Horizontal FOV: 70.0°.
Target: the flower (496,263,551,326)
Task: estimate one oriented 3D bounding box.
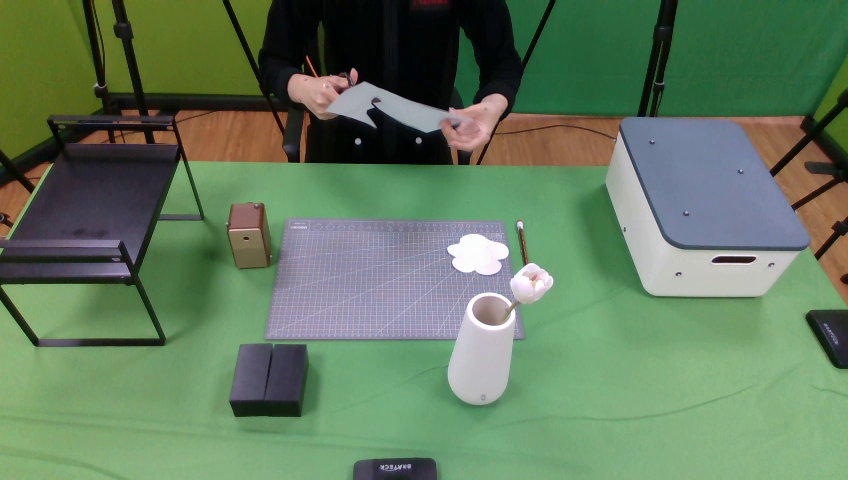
[{"bbox_3d":[0.102,0.120,0.853,0.044,0.363,0.038,-2,64,-10],"label":"flower"}]

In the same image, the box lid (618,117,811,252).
[{"bbox_3d":[0.534,-0.117,1.149,0.263,0.015,0.369,0,47,-3],"label":"box lid"}]

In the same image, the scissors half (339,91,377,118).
[{"bbox_3d":[-0.114,-0.239,1.049,0.013,0.040,0.174,-10,6,-25],"label":"scissors half"}]

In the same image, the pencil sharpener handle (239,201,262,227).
[{"bbox_3d":[-0.325,-0.055,1.150,0.036,0.068,0.030,-13,46,3],"label":"pencil sharpener handle"}]

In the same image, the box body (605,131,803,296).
[{"bbox_3d":[0.530,-0.067,1.204,0.254,0.161,0.361,1,46,-4],"label":"box body"}]

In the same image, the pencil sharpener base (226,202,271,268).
[{"bbox_3d":[-0.323,-0.010,1.123,0.061,0.107,0.076,-3,46,-7],"label":"pencil sharpener base"}]

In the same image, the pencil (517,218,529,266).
[{"bbox_3d":[0.200,0.028,1.196,0.012,0.012,0.193,1,48,-3],"label":"pencil"}]

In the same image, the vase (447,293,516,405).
[{"bbox_3d":[0.091,0.169,0.921,0.098,0.201,0.097,3,47,-3],"label":"vase"}]

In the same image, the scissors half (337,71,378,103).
[{"bbox_3d":[-0.116,-0.259,1.043,0.013,0.040,0.174,-16,32,-24],"label":"scissors half"}]
